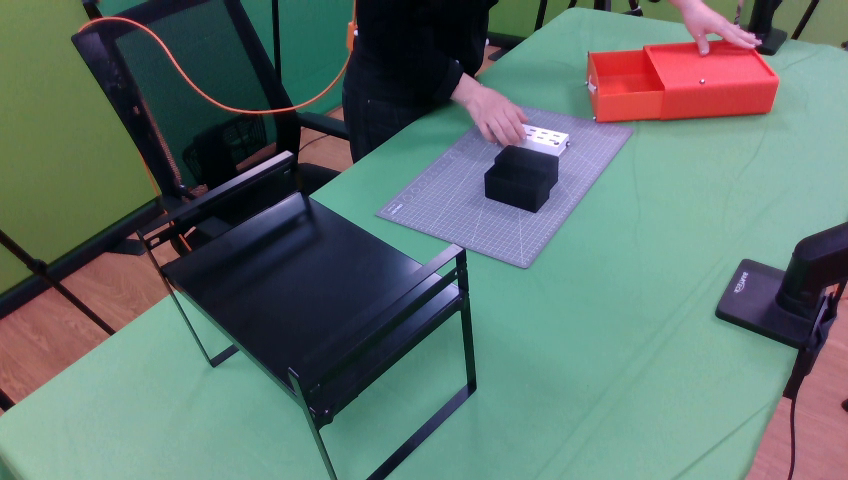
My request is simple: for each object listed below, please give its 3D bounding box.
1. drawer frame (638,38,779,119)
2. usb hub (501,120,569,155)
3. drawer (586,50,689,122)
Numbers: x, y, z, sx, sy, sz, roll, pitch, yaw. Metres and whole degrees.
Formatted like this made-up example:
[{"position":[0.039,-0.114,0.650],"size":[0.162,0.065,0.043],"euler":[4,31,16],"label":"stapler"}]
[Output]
[{"position":[0.564,-0.329,1.226],"size":[0.213,0.083,0.200],"euler":[-2,41,5],"label":"drawer frame"},{"position":[0.213,-0.198,1.167],"size":[0.124,0.025,0.049],"euler":[21,49,29],"label":"usb hub"},{"position":[0.447,-0.323,1.241],"size":[0.211,0.073,0.193],"euler":[-1,40,7],"label":"drawer"}]
